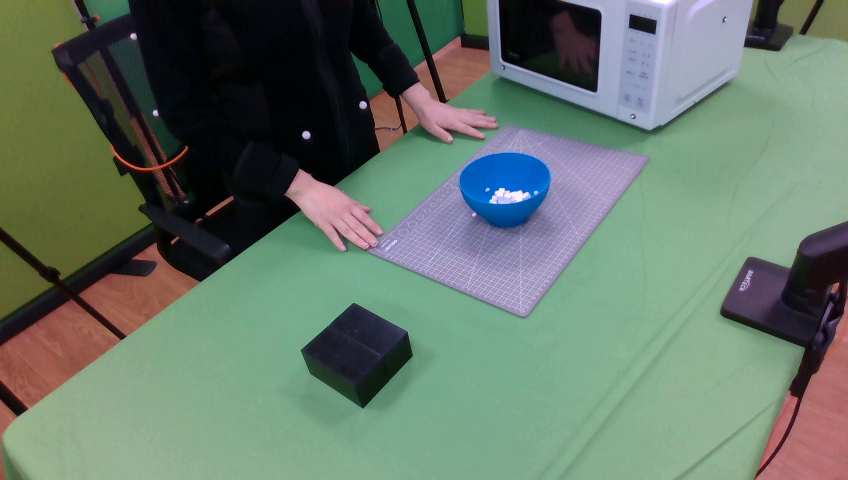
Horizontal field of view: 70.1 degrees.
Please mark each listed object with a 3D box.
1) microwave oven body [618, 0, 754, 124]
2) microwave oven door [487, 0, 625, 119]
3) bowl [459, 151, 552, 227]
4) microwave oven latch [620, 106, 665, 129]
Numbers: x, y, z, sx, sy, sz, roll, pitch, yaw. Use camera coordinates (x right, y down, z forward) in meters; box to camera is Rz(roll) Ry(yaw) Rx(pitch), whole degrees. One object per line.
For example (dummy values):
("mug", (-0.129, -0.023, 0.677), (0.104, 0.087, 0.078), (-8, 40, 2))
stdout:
("microwave oven body", (0.402, -0.458, 1.259), (0.327, 0.261, 0.437), (-33, 45, -24))
("microwave oven door", (0.262, -0.409, 1.221), (0.039, 0.245, 0.352), (-33, 45, -25))
("bowl", (0.136, -0.074, 1.000), (0.151, 0.077, 0.150), (-5, 40, 5))
("microwave oven latch", (0.412, -0.237, 1.146), (0.030, 0.029, 0.078), (-32, 44, -23))
